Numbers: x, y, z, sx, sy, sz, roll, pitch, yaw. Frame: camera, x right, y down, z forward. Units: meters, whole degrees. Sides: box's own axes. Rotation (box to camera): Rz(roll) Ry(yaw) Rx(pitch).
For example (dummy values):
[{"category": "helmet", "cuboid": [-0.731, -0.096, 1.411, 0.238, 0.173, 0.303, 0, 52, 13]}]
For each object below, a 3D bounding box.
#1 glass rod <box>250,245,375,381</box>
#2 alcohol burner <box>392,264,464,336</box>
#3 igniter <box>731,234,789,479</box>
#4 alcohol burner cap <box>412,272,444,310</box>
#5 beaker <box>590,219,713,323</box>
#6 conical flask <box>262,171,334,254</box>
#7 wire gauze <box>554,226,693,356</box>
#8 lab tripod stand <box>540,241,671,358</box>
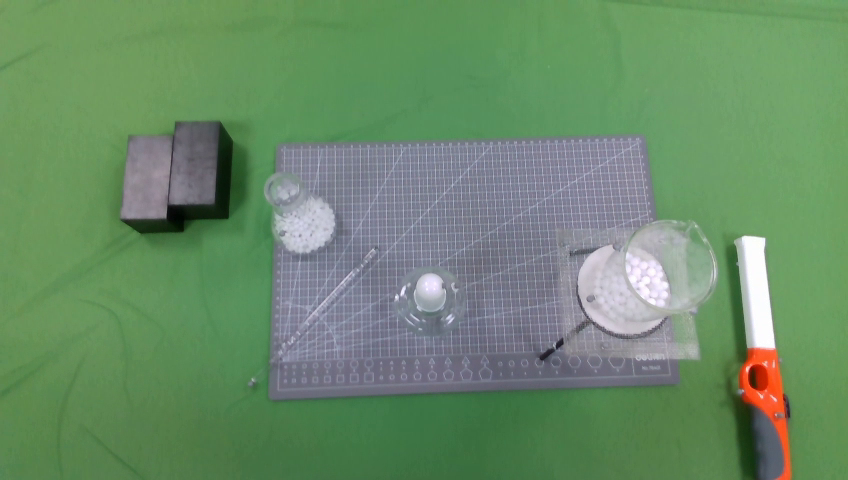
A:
[{"category": "glass rod", "cuboid": [-0.123, 0.078, 0.676, 0.008, 0.008, 0.199, 40, 77, 9]}, {"category": "alcohol burner", "cuboid": [0.004, 0.059, 0.631, 0.078, 0.119, 0.077, 0, 75, 1]}, {"category": "igniter", "cuboid": [0.369, 0.128, 0.670, 0.057, 0.025, 0.275, 5, 75, -11]}, {"category": "alcohol burner cap", "cuboid": [0.004, 0.048, 0.597, 0.034, 0.048, 0.033, 1, 68, -1]}, {"category": "beaker", "cuboid": [0.189, 0.029, 0.516, 0.074, 0.100, 0.084, 33, 77, 7]}, {"category": "conical flask", "cuboid": [-0.141, -0.034, 0.648, 0.075, 0.122, 0.075, 0, 74, -1]}, {"category": "wire gauze", "cuboid": [0.185, 0.046, 0.561, 0.125, 0.011, 0.121, 1, 78, -2]}, {"category": "lab tripod stand", "cuboid": [0.183, 0.065, 0.624, 0.148, 0.132, 0.147, 0, 76, -1]}]
